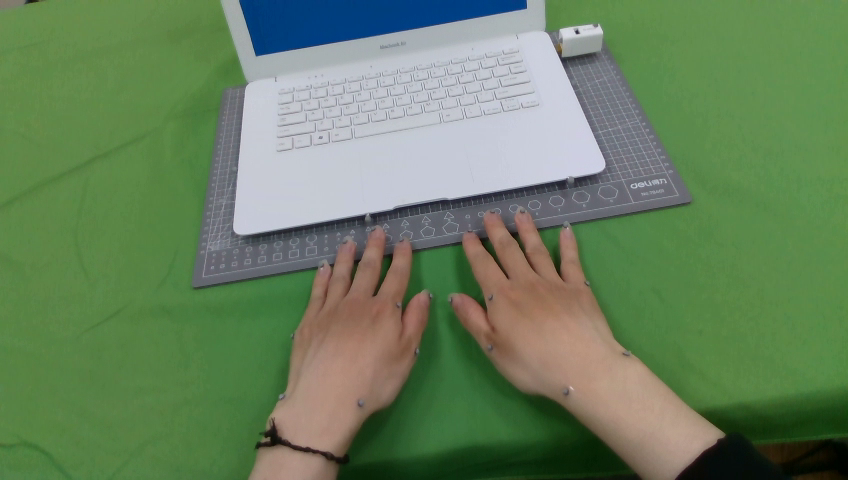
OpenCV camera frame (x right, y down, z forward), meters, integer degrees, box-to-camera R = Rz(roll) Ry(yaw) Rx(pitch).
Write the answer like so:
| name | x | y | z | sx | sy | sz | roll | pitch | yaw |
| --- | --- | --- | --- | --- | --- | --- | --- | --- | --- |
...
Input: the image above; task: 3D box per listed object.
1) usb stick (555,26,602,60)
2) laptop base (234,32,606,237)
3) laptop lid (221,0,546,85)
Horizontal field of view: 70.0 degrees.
| name | x | y | z | sx | sy | sz | roll | pitch | yaw |
| --- | --- | --- | --- | --- | --- | --- | --- | --- | --- |
| usb stick | 0.166 | -0.218 | 0.673 | 0.059 | 0.027 | 0.021 | -9 | 51 | 3 |
| laptop base | -0.016 | -0.117 | 0.634 | 0.354 | 0.023 | 0.233 | -10 | 53 | 0 |
| laptop lid | -0.049 | -0.304 | 0.644 | 0.357 | 0.244 | 0.013 | -11 | 33 | 1 |
